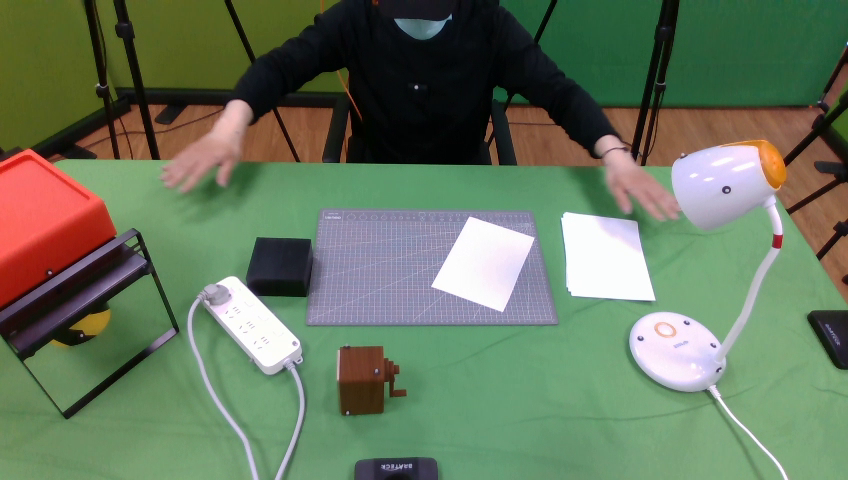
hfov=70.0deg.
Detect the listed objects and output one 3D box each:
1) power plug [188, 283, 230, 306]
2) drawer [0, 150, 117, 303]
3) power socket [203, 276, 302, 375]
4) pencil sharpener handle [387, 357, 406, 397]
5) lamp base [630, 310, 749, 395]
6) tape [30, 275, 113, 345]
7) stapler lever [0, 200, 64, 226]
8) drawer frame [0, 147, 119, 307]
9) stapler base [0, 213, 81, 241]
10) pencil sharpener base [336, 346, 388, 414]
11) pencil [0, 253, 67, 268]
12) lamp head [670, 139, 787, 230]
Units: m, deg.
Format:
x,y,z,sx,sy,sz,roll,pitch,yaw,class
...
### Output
x,y,z,sx,sy,sz,roll,pitch,yaw,class
-0.368,0.099,1.037,0.072,0.053,0.035,-24,52,-25,power plug
-0.604,-0.021,0.885,0.194,0.073,0.211,30,52,22,drawer
-0.297,0.141,1.034,0.072,0.033,0.225,-34,58,-30,power socket
-0.041,0.209,0.919,0.031,0.068,0.036,-1,25,-6,pencil sharpener handle
0.447,0.142,0.984,0.161,0.181,0.178,-24,55,-24,lamp base
-0.593,0.117,1.021,0.117,0.053,0.116,2,46,-2,tape
-0.594,-0.042,0.904,0.118,0.040,0.026,5,41,10,stapler lever
-0.603,-0.020,0.882,0.201,0.083,0.213,29,52,21,drawer frame
-0.591,-0.024,0.921,0.130,0.024,0.041,5,41,10,stapler base
-0.094,0.215,0.927,0.077,0.107,0.061,-1,46,-6,pencil sharpener base
-0.608,0.023,0.875,0.194,0.012,0.012,9,46,2,pencil
0.415,-0.079,0.812,0.113,0.123,0.112,12,70,-37,lamp head
